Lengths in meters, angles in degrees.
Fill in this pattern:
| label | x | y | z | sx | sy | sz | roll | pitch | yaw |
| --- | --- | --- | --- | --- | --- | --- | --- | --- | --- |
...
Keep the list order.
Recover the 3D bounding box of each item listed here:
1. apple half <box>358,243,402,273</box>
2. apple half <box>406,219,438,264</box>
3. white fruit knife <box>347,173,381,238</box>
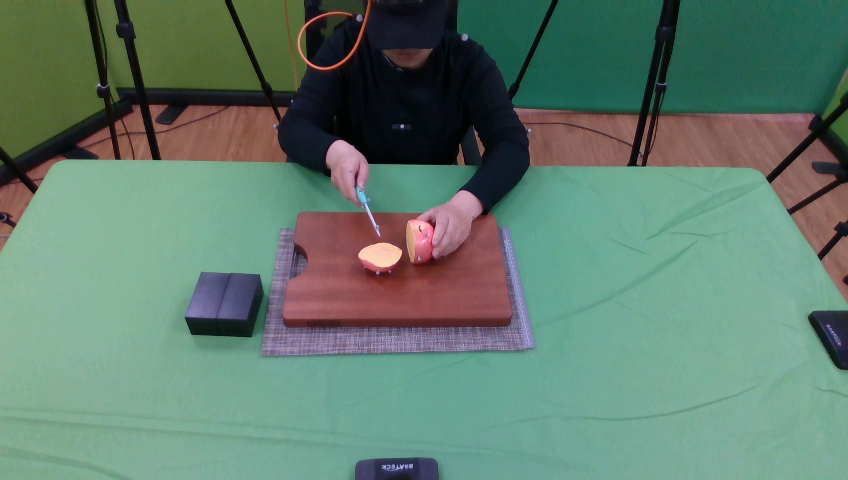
| label | x | y | z | sx | sy | sz | roll | pitch | yaw |
| --- | --- | --- | --- | --- | --- | --- | --- | --- | --- |
| apple half | -0.078 | 0.038 | 1.110 | 0.081 | 0.033 | 0.081 | 1 | 30 | 0 |
| apple half | -0.001 | 0.003 | 1.121 | 0.053 | 0.075 | 0.080 | -4 | 43 | -13 |
| white fruit knife | -0.108 | -0.066 | 1.094 | 0.016 | 0.027 | 0.206 | -19 | 42 | -10 |
